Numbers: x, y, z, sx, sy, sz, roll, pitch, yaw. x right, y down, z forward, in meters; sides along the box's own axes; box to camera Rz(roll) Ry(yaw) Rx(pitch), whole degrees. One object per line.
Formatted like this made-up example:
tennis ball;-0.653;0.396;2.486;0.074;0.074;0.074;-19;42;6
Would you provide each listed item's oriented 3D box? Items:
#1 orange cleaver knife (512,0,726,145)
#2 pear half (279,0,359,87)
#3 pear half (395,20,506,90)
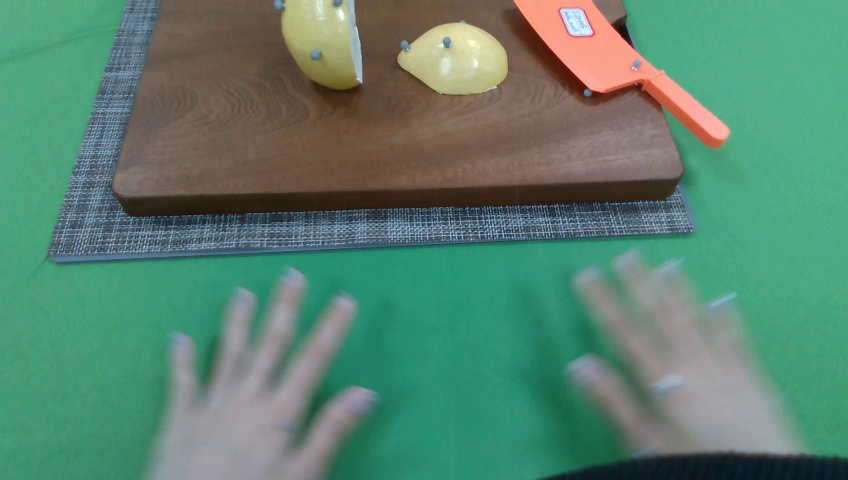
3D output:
orange cleaver knife;0.147;-0.145;0.482;0.077;0.012;0.209;-26;65;-22
pear half;-0.077;-0.164;0.430;0.056;0.111;0.075;-8;54;-6
pear half;0.022;-0.152;0.475;0.088;0.031;0.070;5;51;-3
